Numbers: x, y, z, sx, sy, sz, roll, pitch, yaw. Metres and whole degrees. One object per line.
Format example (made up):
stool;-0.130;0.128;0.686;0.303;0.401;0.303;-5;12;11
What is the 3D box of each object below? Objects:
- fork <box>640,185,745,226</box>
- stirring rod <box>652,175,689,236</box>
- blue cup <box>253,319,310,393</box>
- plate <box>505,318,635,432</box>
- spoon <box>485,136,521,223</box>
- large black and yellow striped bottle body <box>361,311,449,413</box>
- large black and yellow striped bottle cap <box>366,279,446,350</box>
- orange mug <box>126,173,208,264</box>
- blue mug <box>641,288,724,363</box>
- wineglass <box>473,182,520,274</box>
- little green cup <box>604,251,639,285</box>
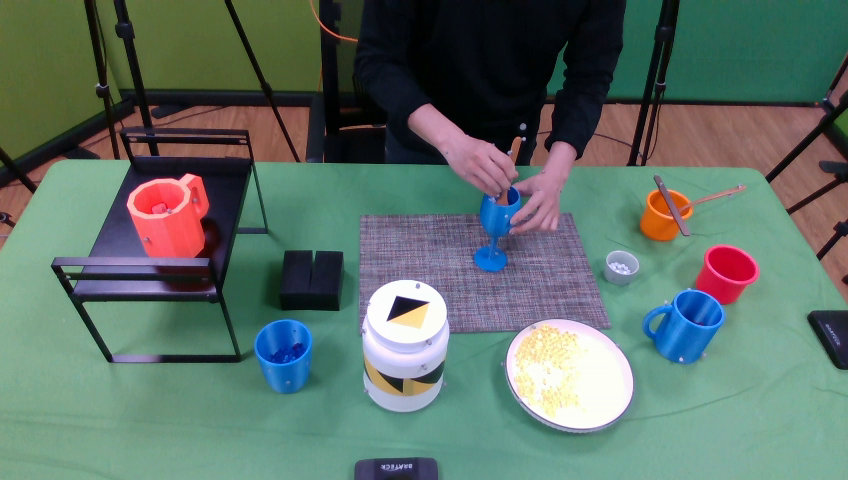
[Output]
fork;0.534;-0.068;1.215;0.207;0.019;0.028;-26;27;33
stirring rod;0.491;-0.072;1.212;0.014;0.006;0.175;-1;47;-5
blue cup;-0.217;0.187;0.943;0.093;0.101;0.092;4;45;-3
plate;0.235;0.221;0.991;0.209;0.038;0.208;2;45;-2
spoon;0.137;-0.098;1.030;0.041;0.194;0.021;12;42;4
large black and yellow striped bottle body;-0.031;0.163;0.924;0.131;0.185;0.130;2;46;-2
large black and yellow striped bottle cap;-0.025;0.104;0.864;0.115;0.019;0.114;3;48;-3
orange mug;-0.371;-0.040;0.902;0.083;0.101;0.126;18;52;13
blue mug;0.432;0.144;1.033;0.116;0.106;0.082;8;46;5
wineglass;0.132;-0.022;1.117;0.074;0.173;0.073;2;47;-2
little green cup;0.375;0.055;1.161;0.061;0.039;0.061;3;46;-2
